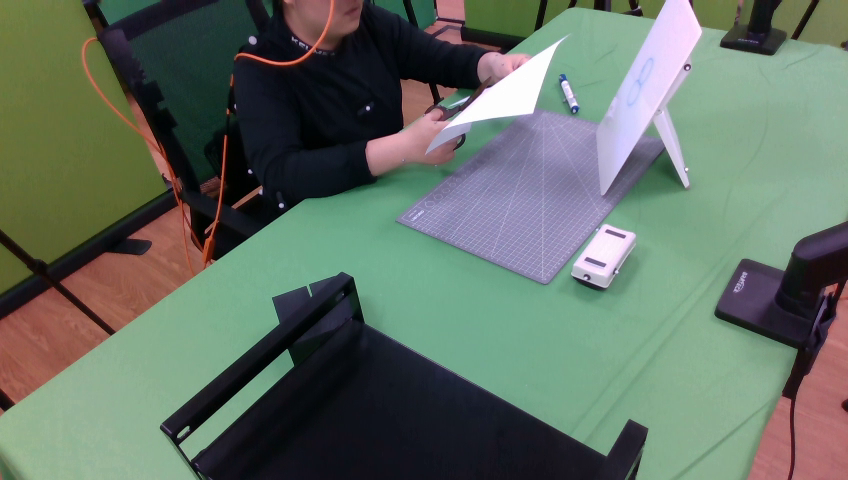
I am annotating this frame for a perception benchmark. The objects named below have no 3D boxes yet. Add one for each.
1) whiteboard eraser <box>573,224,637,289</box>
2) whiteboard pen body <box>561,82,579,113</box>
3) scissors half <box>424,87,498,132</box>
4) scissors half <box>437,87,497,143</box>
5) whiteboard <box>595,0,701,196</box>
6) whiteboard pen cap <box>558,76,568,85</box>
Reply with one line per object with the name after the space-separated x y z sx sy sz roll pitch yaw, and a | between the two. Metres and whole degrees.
0.267 0.025 0.891 0.055 0.042 0.113 19 47 31 | whiteboard eraser
0.311 -0.312 1.297 0.017 0.017 0.140 -5 42 3 | whiteboard pen body
0.062 -0.233 1.067 0.174 0.040 0.013 -17 40 42 | scissors half
0.078 -0.221 1.075 0.040 0.174 0.013 27 56 -17 | scissors half
0.421 -0.227 1.010 0.144 0.305 0.216 18 42 -2 | whiteboard
0.310 -0.350 1.341 0.018 0.018 0.033 -6 41 2 | whiteboard pen cap
